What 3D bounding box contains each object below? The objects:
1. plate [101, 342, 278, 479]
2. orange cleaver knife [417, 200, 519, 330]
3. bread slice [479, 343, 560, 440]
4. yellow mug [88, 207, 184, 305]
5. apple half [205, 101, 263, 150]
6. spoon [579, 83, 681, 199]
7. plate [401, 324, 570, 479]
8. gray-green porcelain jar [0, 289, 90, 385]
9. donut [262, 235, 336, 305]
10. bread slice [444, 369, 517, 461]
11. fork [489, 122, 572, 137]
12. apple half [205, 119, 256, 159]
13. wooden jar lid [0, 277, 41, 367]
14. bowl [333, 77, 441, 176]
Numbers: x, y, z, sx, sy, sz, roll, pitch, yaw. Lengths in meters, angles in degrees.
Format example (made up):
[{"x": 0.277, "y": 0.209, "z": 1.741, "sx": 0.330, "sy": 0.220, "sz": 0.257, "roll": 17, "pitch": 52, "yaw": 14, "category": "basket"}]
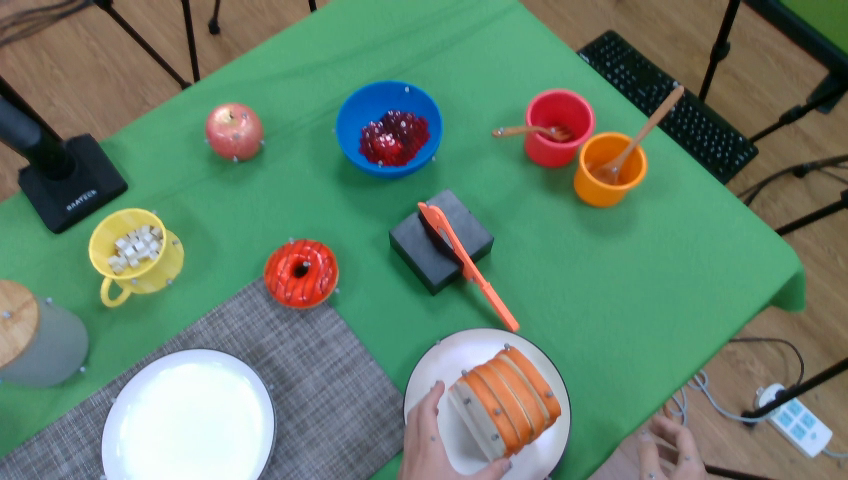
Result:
[{"x": -0.281, "y": 0.231, "z": 0.741, "sx": 0.208, "sy": 0.039, "sz": 0.206, "roll": 0, "pitch": 69, "yaw": -1, "category": "plate"}, {"x": 0.056, "y": 0.033, "z": 0.803, "sx": 0.012, "sy": 0.077, "sz": 0.212, "roll": -36, "pitch": 98, "yaw": -14, "category": "orange cleaver knife"}, {"x": 0.111, "y": 0.179, "z": 0.713, "sx": 0.018, "sy": 0.135, "sz": 0.106, "roll": -30, "pitch": 73, "yaw": -22, "category": "bread slice"}, {"x": -0.389, "y": 0.027, "z": 0.809, "sx": 0.100, "sy": 0.064, "sz": 0.130, "roll": 18, "pitch": 70, "yaw": 6, "category": "yellow mug"}, {"x": -0.270, "y": -0.170, "z": 0.883, "sx": 0.080, "sy": 0.075, "sz": 0.053, "roll": 15, "pitch": 63, "yaw": 9, "category": "apple half"}, {"x": 0.285, "y": -0.134, "z": 0.837, "sx": 0.041, "sy": 0.194, "sz": 0.022, "roll": 45, "pitch": 30, "yaw": 15, "category": "spoon"}, {"x": 0.075, "y": 0.210, "z": 0.759, "sx": 0.209, "sy": 0.038, "sz": 0.207, "roll": 1, "pitch": 68, "yaw": -1, "category": "plate"}, {"x": -0.484, "y": 0.119, "z": 0.739, "sx": 0.106, "sy": 0.127, "sz": 0.105, "roll": 0, "pitch": 68, "yaw": 0, "category": "gray-green porcelain jar"}, {"x": -0.167, "y": 0.041, "z": 0.814, "sx": 0.099, "sy": 0.048, "sz": 0.098, "roll": 1, "pitch": 69, "yaw": -2, "category": "donut"}, {"x": 0.063, "y": 0.202, "z": 0.702, "sx": 0.019, "sy": 0.132, "sz": 0.104, "roll": -27, "pitch": 71, "yaw": -19, "category": "bread slice"}, {"x": 0.152, "y": -0.155, "z": 0.844, "sx": 0.208, "sy": 0.018, "sz": 0.028, "roll": -11, "pitch": 62, "yaw": -50, "category": "fork"}, {"x": -0.281, "y": -0.136, "z": 0.868, "sx": 0.081, "sy": 0.082, "sz": 0.032, "roll": 16, "pitch": 64, "yaw": 6, "category": "apple half"}, {"x": -0.484, "y": 0.095, "z": 0.681, "sx": 0.108, "sy": 0.021, "sz": 0.107, "roll": 0, "pitch": 67, "yaw": 1, "category": "wooden jar lid"}, {"x": -0.051, "y": -0.149, "z": 0.876, "sx": 0.151, "sy": 0.077, "sz": 0.150, "roll": 0, "pitch": 69, "yaw": -1, "category": "bowl"}]
